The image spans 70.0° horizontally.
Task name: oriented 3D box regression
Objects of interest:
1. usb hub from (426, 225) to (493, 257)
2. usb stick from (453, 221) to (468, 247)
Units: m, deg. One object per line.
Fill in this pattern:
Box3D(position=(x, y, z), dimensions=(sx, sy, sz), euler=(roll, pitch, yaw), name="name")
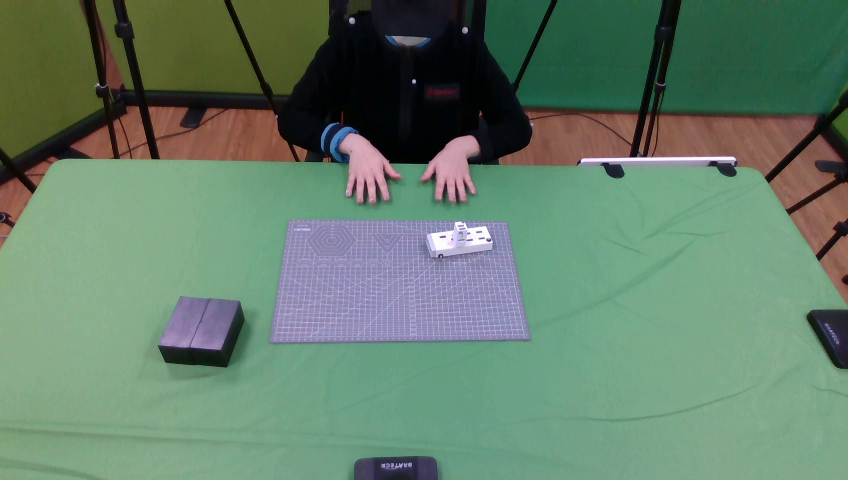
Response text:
Box3D(position=(0.070, 0.003, 1.193), dimensions=(0.125, 0.025, 0.049), euler=(-8, 48, -11), name="usb hub")
Box3D(position=(0.069, -0.006, 1.161), dimensions=(0.021, 0.059, 0.027), euler=(-7, 48, -13), name="usb stick")
